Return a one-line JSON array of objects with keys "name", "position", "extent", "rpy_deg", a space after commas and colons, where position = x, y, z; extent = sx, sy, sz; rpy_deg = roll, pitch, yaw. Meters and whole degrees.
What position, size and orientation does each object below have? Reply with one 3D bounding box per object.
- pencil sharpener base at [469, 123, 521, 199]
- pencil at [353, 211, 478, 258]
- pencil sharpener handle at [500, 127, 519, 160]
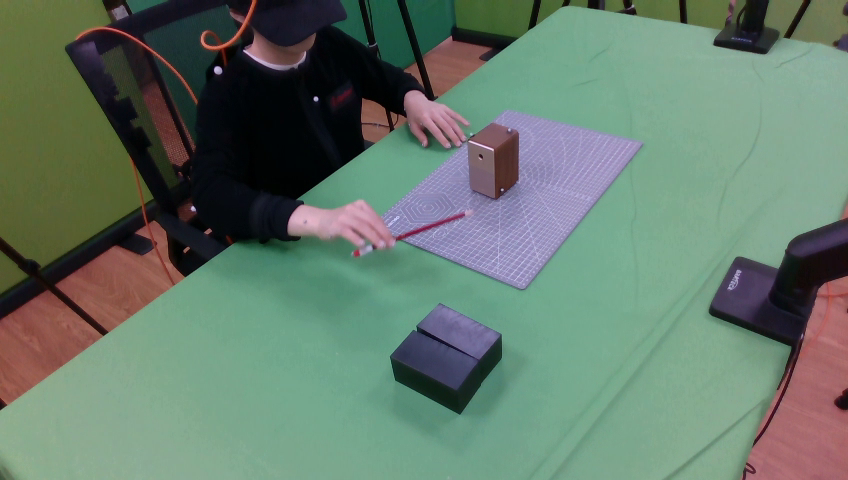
[{"name": "pencil sharpener base", "position": [0.126, -0.138, 1.049], "extent": [0.061, 0.107, 0.077], "rpy_deg": [26, 50, 34]}, {"name": "pencil", "position": [-0.011, -0.011, 0.891], "extent": [0.194, 0.012, 0.012], "rpy_deg": [-20, 41, -6]}, {"name": "pencil sharpener handle", "position": [0.157, -0.175, 1.070], "extent": [0.035, 0.068, 0.031], "rpy_deg": [30, 53, 29]}]
